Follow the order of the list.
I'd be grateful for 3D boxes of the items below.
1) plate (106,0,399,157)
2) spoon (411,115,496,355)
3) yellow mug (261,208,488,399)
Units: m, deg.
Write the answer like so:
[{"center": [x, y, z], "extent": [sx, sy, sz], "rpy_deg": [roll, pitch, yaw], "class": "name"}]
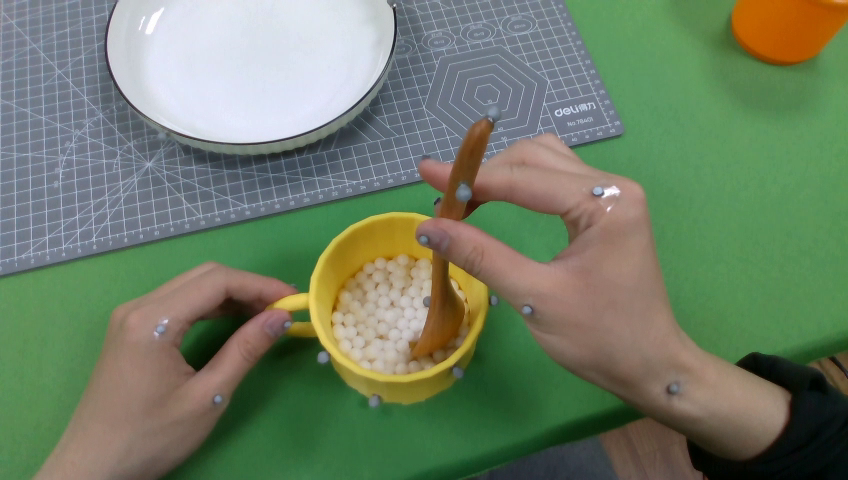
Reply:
[{"center": [-0.122, -0.147, 0.451], "extent": [0.208, 0.039, 0.206], "rpy_deg": [1, 66, -2], "class": "plate"}, {"center": [0.011, 0.010, 0.296], "extent": [0.041, 0.195, 0.021], "rpy_deg": [-39, 65, -25], "class": "spoon"}, {"center": [-0.030, 0.041, 0.359], "extent": [0.131, 0.064, 0.099], "rpy_deg": [-5, 66, -3], "class": "yellow mug"}]
